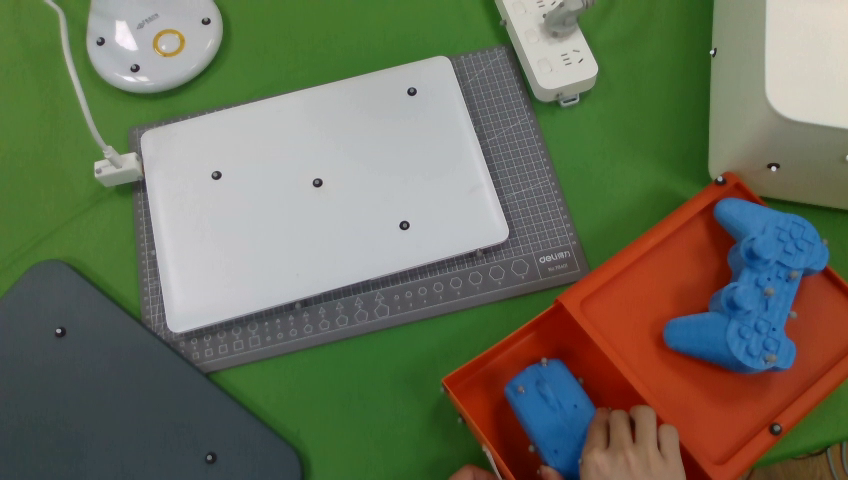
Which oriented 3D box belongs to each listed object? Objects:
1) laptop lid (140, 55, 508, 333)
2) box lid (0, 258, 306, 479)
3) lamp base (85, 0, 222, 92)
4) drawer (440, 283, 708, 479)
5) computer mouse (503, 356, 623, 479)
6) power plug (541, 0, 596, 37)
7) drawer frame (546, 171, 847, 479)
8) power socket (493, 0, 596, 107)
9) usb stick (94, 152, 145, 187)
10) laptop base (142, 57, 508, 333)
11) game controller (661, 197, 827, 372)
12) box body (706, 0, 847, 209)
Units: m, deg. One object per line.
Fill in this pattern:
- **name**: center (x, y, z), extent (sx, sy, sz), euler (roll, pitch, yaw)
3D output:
- **laptop lid**: center (-0.111, -0.059, 0.637), extent (0.357, 0.013, 0.240), euler (-14, 72, -3)
- **box lid**: center (-0.322, 0.205, 0.565), extent (0.370, 0.015, 0.262), euler (34, 75, 13)
- **lamp base**: center (-0.335, -0.280, 0.654), extent (0.178, 0.181, 0.160), euler (33, 74, 16)
- **drawer**: center (0.152, 0.149, 0.533), extent (0.212, 0.074, 0.193), euler (-33, 72, -10)
- **computer mouse**: center (0.120, 0.160, 0.527), extent (0.063, 0.041, 0.116), euler (-25, 66, -6)
- **power plug**: center (0.168, -0.245, 0.677), extent (0.072, 0.053, 0.035), euler (-6, 68, -1)
- **drawer frame**: center (0.256, 0.077, 0.553), extent (0.213, 0.083, 0.200), euler (-35, 72, -11)
- **power socket**: center (0.131, -0.258, 0.707), extent (0.072, 0.033, 0.225), euler (-16, 70, -5)
- **usb stick**: center (-0.319, -0.077, 0.651), extent (0.059, 0.027, 0.021), euler (-11, 64, -5)
- **laptop base**: center (-0.111, -0.057, 0.649), extent (0.354, 0.023, 0.234), euler (-16, 73, -4)
- **game controller**: center (0.275, 0.037, 0.512), extent (0.097, 0.052, 0.154), euler (27, 74, 8)
- **box body**: center (0.438, -0.218, 0.612), extent (0.254, 0.161, 0.362), euler (9, 70, 5)
